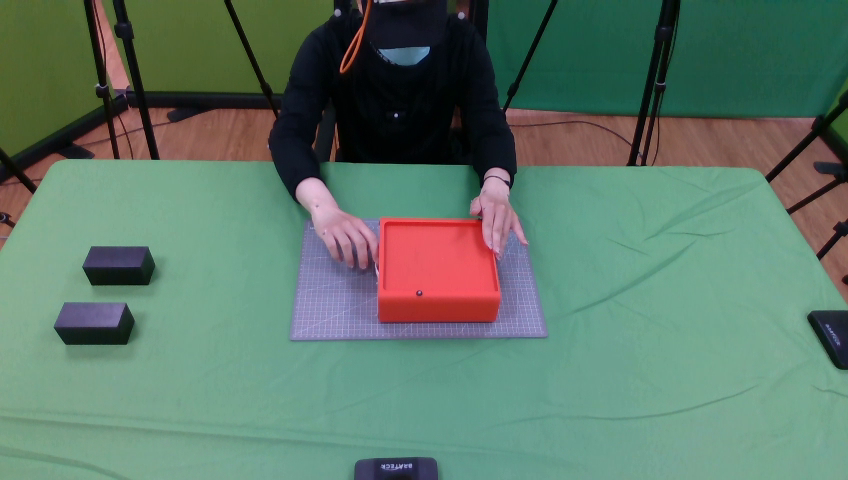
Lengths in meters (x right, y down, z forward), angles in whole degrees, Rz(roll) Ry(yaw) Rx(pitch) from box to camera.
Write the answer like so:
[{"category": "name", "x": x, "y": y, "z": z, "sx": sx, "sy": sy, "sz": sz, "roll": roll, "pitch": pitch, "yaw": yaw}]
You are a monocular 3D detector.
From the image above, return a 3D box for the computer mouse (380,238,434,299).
[{"category": "computer mouse", "x": -0.030, "y": 0.050, "z": 1.105, "sx": 0.063, "sy": 0.041, "sz": 0.117, "roll": 28, "pitch": 62, "yaw": 1}]

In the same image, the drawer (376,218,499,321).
[{"category": "drawer", "x": 0.019, "y": 0.051, "z": 1.102, "sx": 0.212, "sy": 0.073, "sz": 0.193, "roll": 2, "pitch": 45, "yaw": -4}]

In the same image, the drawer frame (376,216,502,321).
[{"category": "drawer frame", "x": 0.021, "y": 0.049, "z": 1.101, "sx": 0.214, "sy": 0.083, "sz": 0.200, "roll": 0, "pitch": 46, "yaw": -4}]
